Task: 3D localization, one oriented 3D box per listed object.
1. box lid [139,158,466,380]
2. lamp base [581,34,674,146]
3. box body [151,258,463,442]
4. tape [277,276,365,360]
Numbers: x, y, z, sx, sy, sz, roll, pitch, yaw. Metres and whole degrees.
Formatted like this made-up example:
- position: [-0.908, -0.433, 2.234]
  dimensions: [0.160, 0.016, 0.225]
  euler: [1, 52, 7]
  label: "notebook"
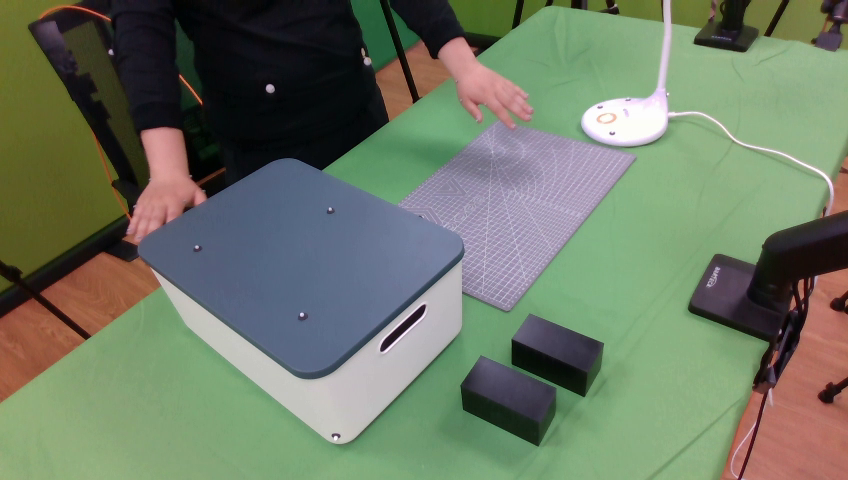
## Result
- position: [-0.158, 0.010, 0.758]
  dimensions: [0.368, 0.015, 0.264]
  euler: [26, 50, 33]
  label: "box lid"
- position: [0.392, -0.291, 1.129]
  dimensions: [0.180, 0.181, 0.159]
  euler: [-11, 41, -8]
  label: "lamp base"
- position: [-0.152, 0.064, 0.807]
  dimensions: [0.361, 0.161, 0.255]
  euler: [26, 51, 33]
  label: "box body"
- position: [-0.140, 0.106, 0.832]
  dimensions: [0.117, 0.053, 0.116]
  euler: [-4, 41, 4]
  label: "tape"
